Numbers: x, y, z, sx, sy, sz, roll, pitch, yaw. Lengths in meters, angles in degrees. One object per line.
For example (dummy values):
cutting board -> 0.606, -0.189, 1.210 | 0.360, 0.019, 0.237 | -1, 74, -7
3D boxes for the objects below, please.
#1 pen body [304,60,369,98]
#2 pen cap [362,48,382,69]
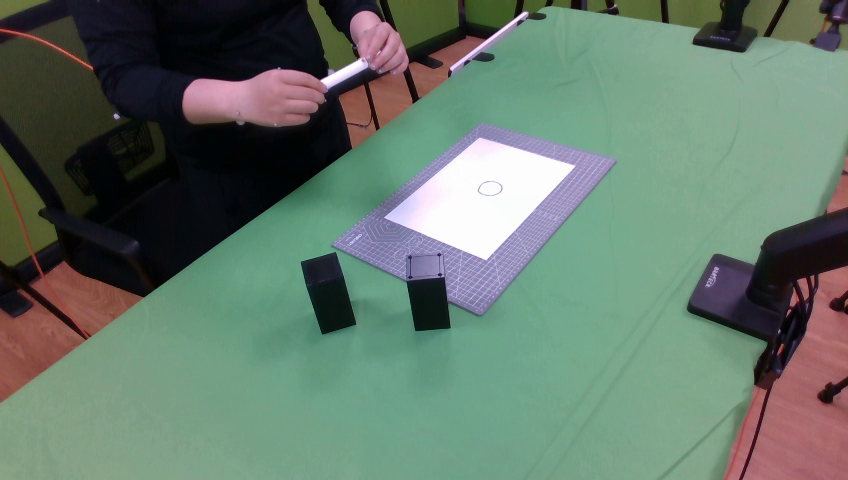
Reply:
pen body -> -0.127, -0.257, 0.944 | 0.017, 0.017, 0.144 | 28, 52, 35
pen cap -> -0.086, -0.291, 0.972 | 0.038, 0.017, 0.017 | -39, 44, 0
